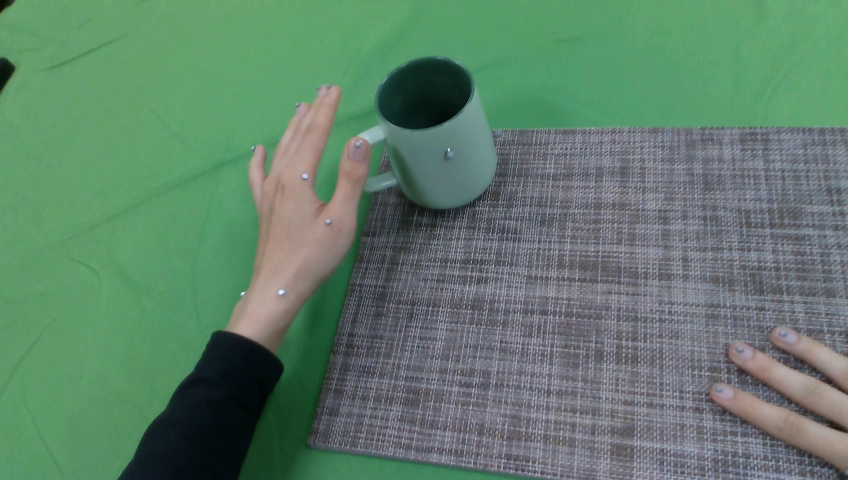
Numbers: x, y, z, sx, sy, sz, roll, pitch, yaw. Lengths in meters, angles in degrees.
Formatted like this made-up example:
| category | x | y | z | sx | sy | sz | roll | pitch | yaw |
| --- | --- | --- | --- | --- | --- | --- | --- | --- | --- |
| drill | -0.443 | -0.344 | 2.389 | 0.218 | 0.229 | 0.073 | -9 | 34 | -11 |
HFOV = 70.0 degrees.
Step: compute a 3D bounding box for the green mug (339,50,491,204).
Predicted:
| category | x | y | z | sx | sy | sz | roll | pitch | yaw |
| --- | --- | --- | --- | --- | --- | --- | --- | --- | --- |
| green mug | -0.009 | -0.083 | 0.501 | 0.125 | 0.106 | 0.091 | -26 | 58 | -2 |
